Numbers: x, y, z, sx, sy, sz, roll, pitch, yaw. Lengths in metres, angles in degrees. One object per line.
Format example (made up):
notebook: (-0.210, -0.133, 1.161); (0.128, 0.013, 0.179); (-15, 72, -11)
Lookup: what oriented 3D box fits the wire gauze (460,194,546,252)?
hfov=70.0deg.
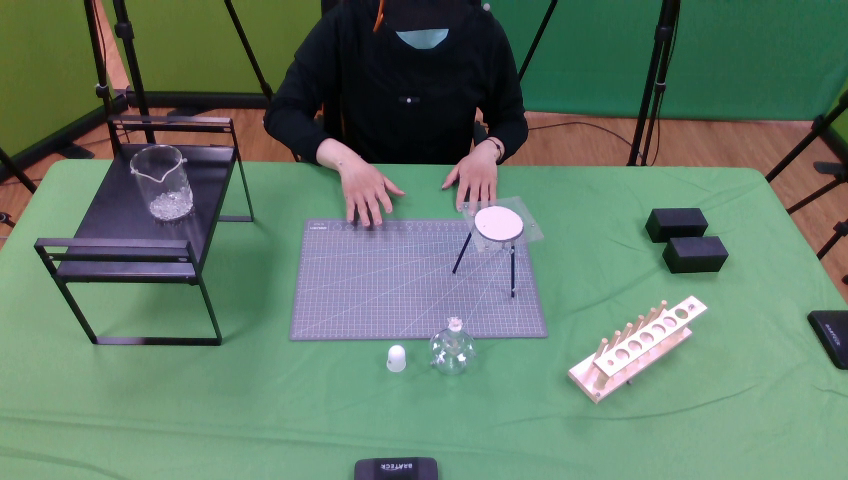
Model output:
wire gauze: (0.136, -0.035, 1.061); (0.121, 0.011, 0.124); (-9, 47, -12)

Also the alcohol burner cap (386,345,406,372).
alcohol burner cap: (-0.046, 0.192, 0.995); (0.034, 0.048, 0.033); (3, 46, -3)

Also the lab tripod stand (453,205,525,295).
lab tripod stand: (0.131, 0.010, 1.111); (0.148, 0.132, 0.147); (1, 45, -1)

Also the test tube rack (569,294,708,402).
test tube rack: (0.360, 0.167, 1.014); (0.242, 0.085, 0.066); (-25, 53, -25)

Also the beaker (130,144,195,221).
beaker: (-0.403, -0.085, 0.944); (0.074, 0.101, 0.083); (-15, 50, -17)

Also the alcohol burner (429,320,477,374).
alcohol burner: (0.048, 0.164, 0.977); (0.078, 0.120, 0.077); (2, 48, -2)
